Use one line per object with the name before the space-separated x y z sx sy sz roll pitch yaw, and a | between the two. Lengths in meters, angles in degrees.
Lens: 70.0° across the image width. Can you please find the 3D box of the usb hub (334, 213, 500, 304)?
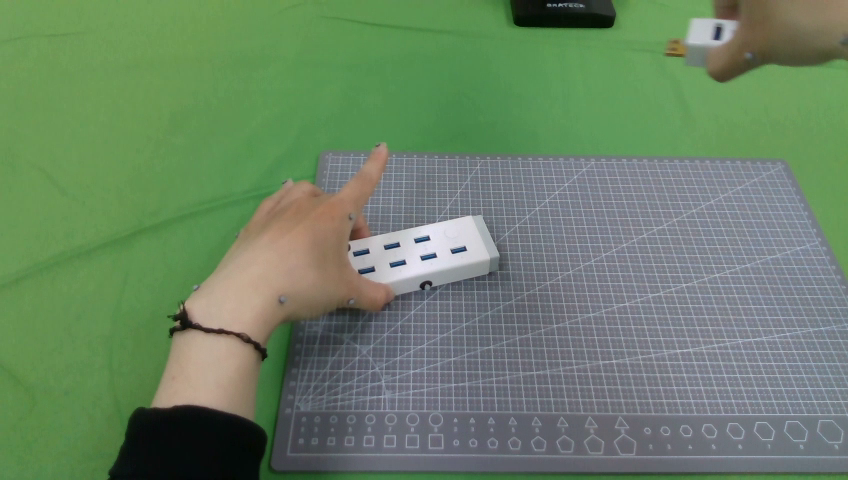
usb hub | -0.006 0.013 0.487 0.125 0.025 0.049 -12 53 -12

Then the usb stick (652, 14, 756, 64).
usb stick | 0.177 -0.128 0.388 0.059 0.027 0.021 8 75 25
